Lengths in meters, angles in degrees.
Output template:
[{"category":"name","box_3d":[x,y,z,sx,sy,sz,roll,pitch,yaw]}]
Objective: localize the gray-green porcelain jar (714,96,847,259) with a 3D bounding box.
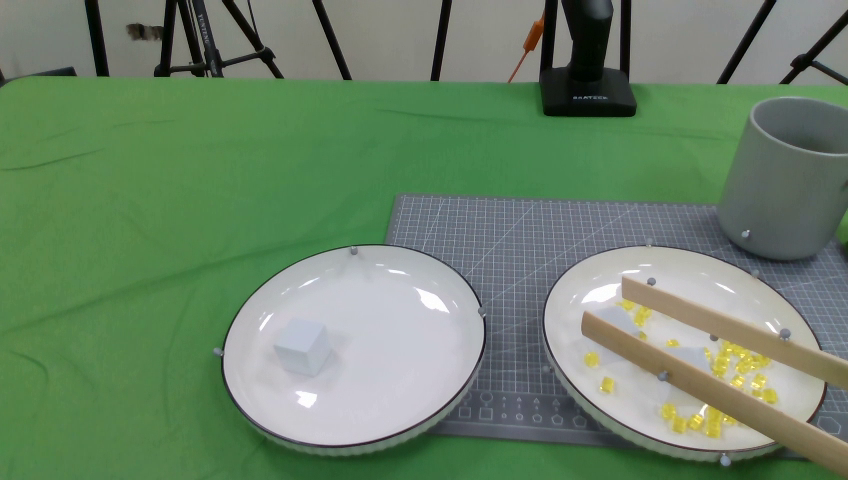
[{"category":"gray-green porcelain jar","box_3d":[0.339,-0.054,0.566,0.106,0.127,0.105,-1,40,1]}]

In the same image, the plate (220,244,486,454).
[{"category":"plate","box_3d":[-0.054,0.083,0.491,0.209,0.038,0.207,-2,40,2]}]

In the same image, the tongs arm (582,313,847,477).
[{"category":"tongs arm","box_3d":[0.259,0.125,0.336,0.384,0.028,0.028,24,45,37]}]

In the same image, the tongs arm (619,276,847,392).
[{"category":"tongs arm","box_3d":[0.281,0.108,0.352,0.381,0.027,0.050,23,47,36]}]

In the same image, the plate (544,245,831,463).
[{"category":"plate","box_3d":[0.199,0.085,0.479,0.208,0.039,0.205,-1,40,1]}]
